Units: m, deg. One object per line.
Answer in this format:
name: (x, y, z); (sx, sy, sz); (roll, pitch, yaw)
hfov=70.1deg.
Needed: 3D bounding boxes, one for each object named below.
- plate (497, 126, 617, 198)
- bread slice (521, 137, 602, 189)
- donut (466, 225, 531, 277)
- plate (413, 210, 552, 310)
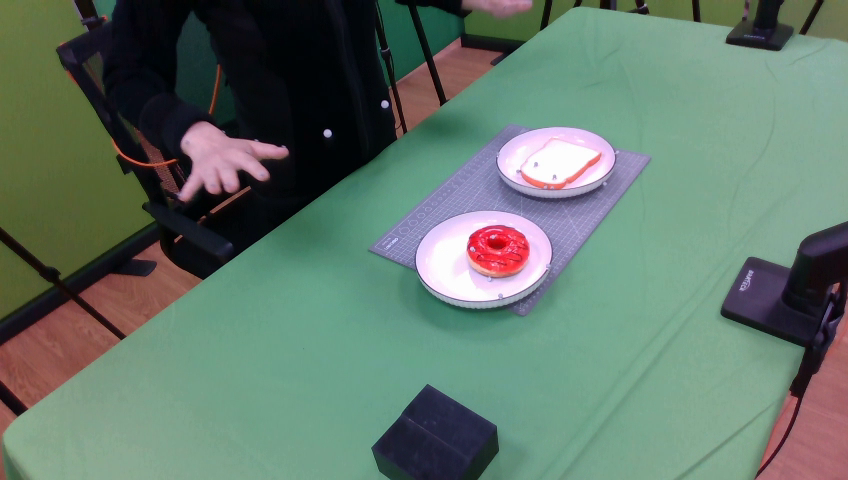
plate: (0.236, -0.136, 1.085); (0.209, 0.038, 0.208); (-5, 40, 5)
bread slice: (0.242, -0.136, 1.085); (0.106, 0.018, 0.134); (23, 50, 34)
donut: (0.112, 0.017, 0.910); (0.099, 0.048, 0.098); (-2, 42, 2)
plate: (0.088, 0.033, 0.914); (0.207, 0.039, 0.206); (-5, 40, 5)
